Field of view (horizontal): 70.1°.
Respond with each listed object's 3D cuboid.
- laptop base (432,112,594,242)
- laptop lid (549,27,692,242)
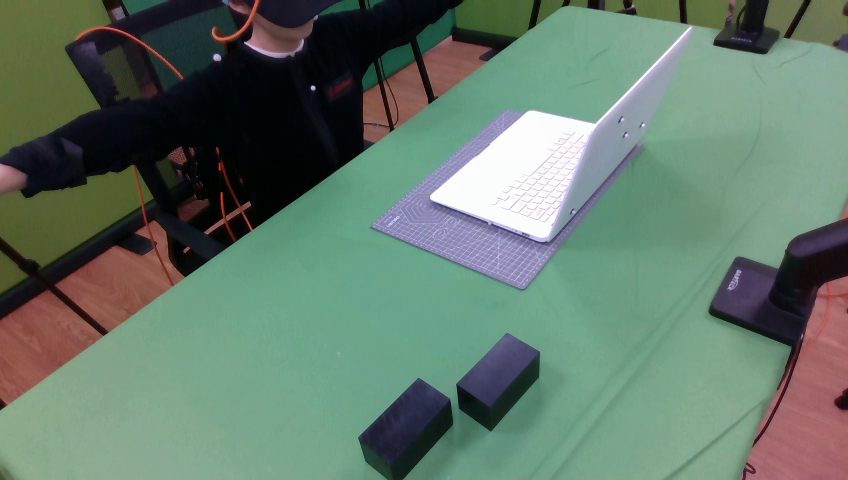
[{"bbox_3d":[0.208,-0.129,1.098,0.233,0.023,0.355,20,47,34],"label":"laptop base"},{"bbox_3d":[0.311,-0.167,0.948,0.013,0.242,0.358,33,52,20],"label":"laptop lid"}]
